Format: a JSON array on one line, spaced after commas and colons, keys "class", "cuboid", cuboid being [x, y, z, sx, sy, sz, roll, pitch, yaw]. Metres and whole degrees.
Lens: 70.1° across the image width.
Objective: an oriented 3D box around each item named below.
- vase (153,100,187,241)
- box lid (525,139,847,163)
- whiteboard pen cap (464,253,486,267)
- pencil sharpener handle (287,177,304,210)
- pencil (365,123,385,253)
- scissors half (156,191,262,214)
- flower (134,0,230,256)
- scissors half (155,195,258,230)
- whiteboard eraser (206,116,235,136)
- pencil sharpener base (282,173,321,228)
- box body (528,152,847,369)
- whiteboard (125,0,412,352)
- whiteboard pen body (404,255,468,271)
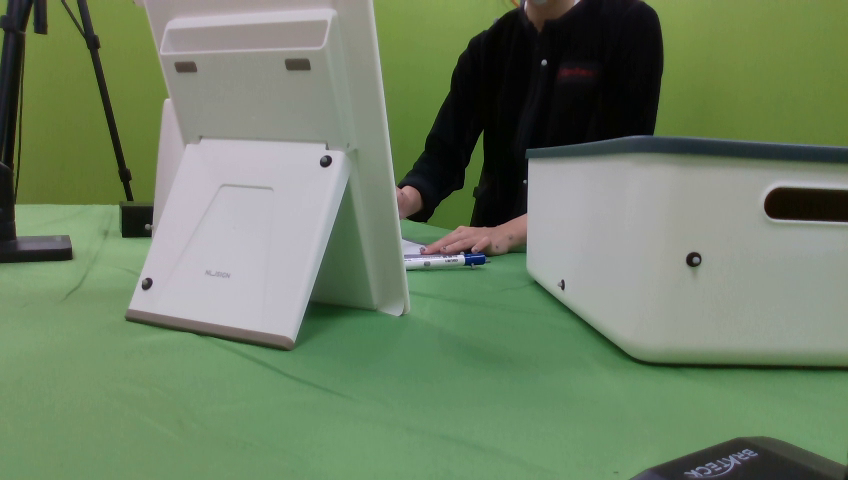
[{"class": "vase", "cuboid": [-0.278, -0.066, 0.736, 0.098, 0.200, 0.098, 2, 9, 0]}, {"class": "box lid", "cuboid": [0.261, -0.078, 0.580, 0.264, 0.015, 0.371, 2, 7, -4]}, {"class": "whiteboard pen cap", "cuboid": [0.066, 0.027, 0.818, 0.033, 0.018, 0.018, -5, 10, -24]}, {"class": "pencil sharpener handle", "cuboid": [-0.269, -0.096, 1.257, 0.036, 0.067, 0.030, -9, 8, -27]}, {"class": "pencil", "cuboid": [-0.071, -0.077, 0.893, 0.012, 0.194, 0.012, -7, -2, 0]}, {"class": "scissors half", "cuboid": [-0.371, -0.068, 1.051, 0.176, 0.040, 0.013, 2, 25, -24]}, {"class": "flower", "cuboid": [-0.282, -0.147, 0.713, 0.038, 0.362, 0.044, -23, 24, -31]}, {"class": "scissors half", "cuboid": [-0.378, -0.051, 1.058, 0.176, 0.040, 0.012, 20, 22, -31]}, {"class": "whiteboard eraser", "cuboid": [-0.450, -0.252, 1.335, 0.056, 0.042, 0.112, 1, 7, -22]}, {"class": "pencil sharpener base", "cuboid": [-0.247, -0.080, 1.212, 0.061, 0.107, 0.076, -2, 5, -28]}, {"class": "box body", "cuboid": [0.258, -0.005, 0.591, 0.254, 0.160, 0.363, 2, 7, -4]}, {"class": "whiteboard", "cuboid": [-0.151, -0.049, 0.472, 0.216, 0.305, 0.144, 6, 27, 24]}, {"class": "whiteboard pen body", "cuboid": [0.013, 0.030, 0.792, 0.141, 0.017, 0.017, -3, 9, -24]}]
